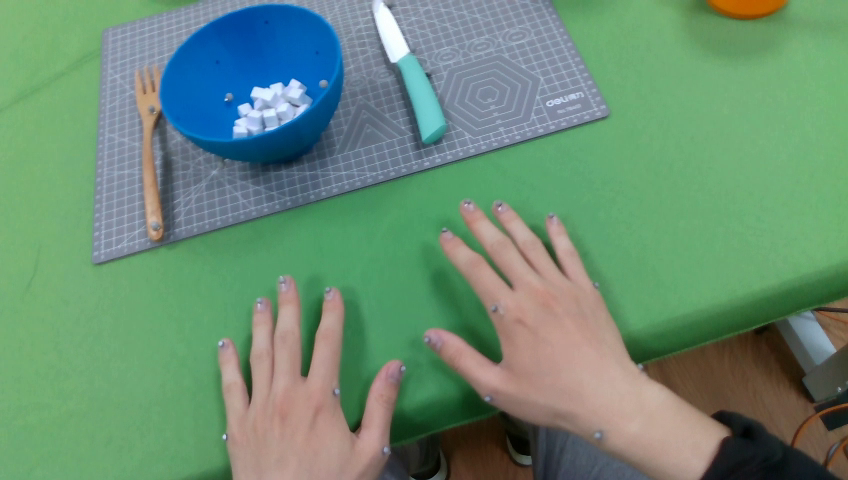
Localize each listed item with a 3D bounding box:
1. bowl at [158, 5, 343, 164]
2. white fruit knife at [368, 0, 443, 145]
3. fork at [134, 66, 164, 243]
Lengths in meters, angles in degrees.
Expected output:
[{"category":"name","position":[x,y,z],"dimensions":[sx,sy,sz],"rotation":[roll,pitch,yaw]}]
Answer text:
[{"category":"bowl","position":[-0.135,-0.117,0.515],"dimensions":[0.151,0.077,0.150],"rotation":[-4,60,7]},{"category":"white fruit knife","position":[-0.021,-0.166,0.560],"dimensions":[0.027,0.016,0.205],"rotation":[-12,58,-14]},{"category":"fork","position":[-0.247,-0.083,0.547],"dimensions":[0.028,0.019,0.205],"rotation":[-14,57,-8]}]
